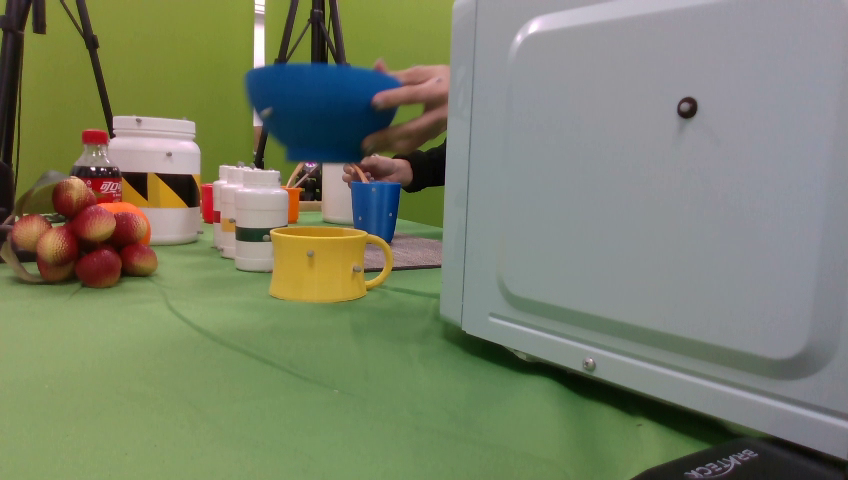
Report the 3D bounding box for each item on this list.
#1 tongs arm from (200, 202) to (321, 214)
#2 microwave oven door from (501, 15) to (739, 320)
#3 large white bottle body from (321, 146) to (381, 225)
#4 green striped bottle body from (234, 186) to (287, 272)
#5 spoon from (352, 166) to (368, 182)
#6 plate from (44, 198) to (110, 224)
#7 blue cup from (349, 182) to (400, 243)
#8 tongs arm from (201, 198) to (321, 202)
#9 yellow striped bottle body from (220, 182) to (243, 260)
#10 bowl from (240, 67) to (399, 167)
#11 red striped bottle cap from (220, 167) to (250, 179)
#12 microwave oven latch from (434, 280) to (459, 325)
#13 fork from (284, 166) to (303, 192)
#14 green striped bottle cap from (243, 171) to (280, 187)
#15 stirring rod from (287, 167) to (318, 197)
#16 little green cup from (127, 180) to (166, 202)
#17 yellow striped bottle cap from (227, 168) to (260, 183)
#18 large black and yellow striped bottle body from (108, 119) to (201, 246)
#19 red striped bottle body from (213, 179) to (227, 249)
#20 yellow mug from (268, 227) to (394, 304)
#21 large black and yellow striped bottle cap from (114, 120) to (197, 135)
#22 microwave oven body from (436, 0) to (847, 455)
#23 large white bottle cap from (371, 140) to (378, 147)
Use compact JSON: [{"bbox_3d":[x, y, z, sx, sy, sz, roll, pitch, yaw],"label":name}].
[{"bbox_3d":[-0.378,-0.079,1.440,0.387,0.026,0.050,-4,8,-44],"label":"tongs arm"},{"bbox_3d":[0.217,-0.065,0.601,0.358,0.243,0.039,-4,10,-41],"label":"microwave oven door"},{"bbox_3d":[-0.162,-0.131,1.340,0.131,0.184,0.130,2,8,0],"label":"large white bottle body"},{"bbox_3d":[-0.200,-0.023,0.744,0.063,0.119,0.063,2,8,0],"label":"green striped bottle body"},{"bbox_3d":[-0.115,-0.115,1.040,0.042,0.021,0.193,14,30,-49],"label":"spoon"},{"bbox_3d":[-0.617,-0.056,1.179,0.209,0.038,0.209,3,7,0],"label":"plate"},{"bbox_3d":[-0.082,-0.047,1.011,0.093,0.100,0.092,1,6,0],"label":"blue cup"},{"bbox_3d":[-0.433,-0.090,1.508,0.390,0.028,0.028,-1,2,-29],"label":"tongs arm"},{"bbox_3d":[-0.245,-0.036,0.825,0.063,0.120,0.063,3,8,0],"label":"yellow striped bottle body"},{"bbox_3d":[-0.099,-0.111,0.584,0.151,0.077,0.151,1,3,0],"label":"bowl"},{"bbox_3d":[-0.281,-0.100,0.901,0.044,0.017,0.044,-1,5,0],"label":"red striped bottle cap"},{"bbox_3d":[0.044,0.045,0.470,0.079,0.029,0.030,-2,8,-39],"label":"microwave oven latch"},{"bbox_3d":[-0.295,-0.116,1.323,0.028,0.019,0.207,0,50,21],"label":"fork"},{"bbox_3d":[-0.198,-0.074,0.736,0.044,0.020,0.044,1,7,0],"label":"green striped bottle cap"},{"bbox_3d":[-0.283,-0.107,1.298,0.014,0.006,0.176,10,52,51],"label":"stirring rod"},{"bbox_3d":[-0.486,-0.086,1.061,0.061,0.038,0.061,1,7,0],"label":"little green cup"},{"bbox_3d":[-0.243,-0.087,0.818,0.044,0.018,0.044,3,6,0],"label":"yellow striped bottle cap"},{"bbox_3d":[-0.412,-0.088,0.930,0.131,0.184,0.130,3,7,0],"label":"large black and yellow striped bottle body"},{"bbox_3d":[-0.284,-0.048,0.909,0.063,0.119,0.063,3,11,0],"label":"red striped bottle body"},{"bbox_3d":[-0.094,0.024,0.629,0.131,0.064,0.099,1,7,-21],"label":"yellow mug"},{"bbox_3d":[-0.407,-0.171,0.920,0.115,0.019,0.115,2,9,0],"label":"large black and yellow striped bottle cap"},{"bbox_3d":[0.279,-0.040,0.465,0.444,0.260,0.324,-3,9,-41],"label":"microwave oven body"},{"bbox_3d":[-0.158,-0.214,1.329,0.115,0.018,0.115,2,7,0],"label":"large white bottle cap"}]
